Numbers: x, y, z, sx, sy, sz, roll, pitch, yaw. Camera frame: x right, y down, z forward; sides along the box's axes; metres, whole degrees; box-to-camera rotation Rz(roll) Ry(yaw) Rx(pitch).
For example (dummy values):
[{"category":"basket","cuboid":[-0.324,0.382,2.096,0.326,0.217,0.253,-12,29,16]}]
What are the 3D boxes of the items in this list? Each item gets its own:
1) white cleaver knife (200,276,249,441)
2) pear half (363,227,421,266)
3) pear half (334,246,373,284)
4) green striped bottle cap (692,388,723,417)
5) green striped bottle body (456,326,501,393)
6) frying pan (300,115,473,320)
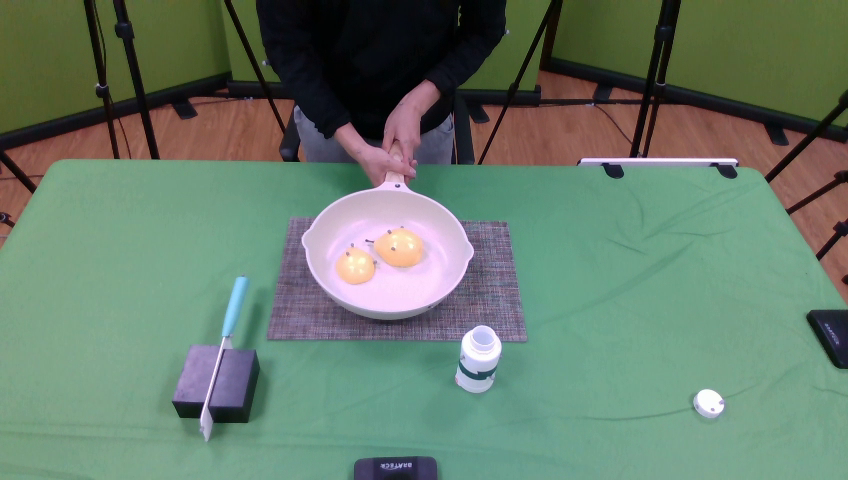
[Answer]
[{"category":"white cleaver knife","cuboid":[-0.321,0.177,0.971,0.021,0.066,0.284,6,48,-4]},{"category":"pear half","cuboid":[-0.062,0.003,1.130,0.110,0.056,0.076,11,43,6]},{"category":"pear half","cuboid":[-0.129,0.038,1.106,0.070,0.031,0.087,-5,53,-17]},{"category":"green striped bottle cap","cuboid":[0.460,0.263,0.984,0.044,0.020,0.044,3,46,-3]},{"category":"green striped bottle body","cuboid":[0.086,0.185,0.959,0.063,0.120,0.063,2,46,-2]},{"category":"frying pan","cuboid":[-0.062,-0.059,1.153,0.307,0.103,0.485,6,57,-3]}]
